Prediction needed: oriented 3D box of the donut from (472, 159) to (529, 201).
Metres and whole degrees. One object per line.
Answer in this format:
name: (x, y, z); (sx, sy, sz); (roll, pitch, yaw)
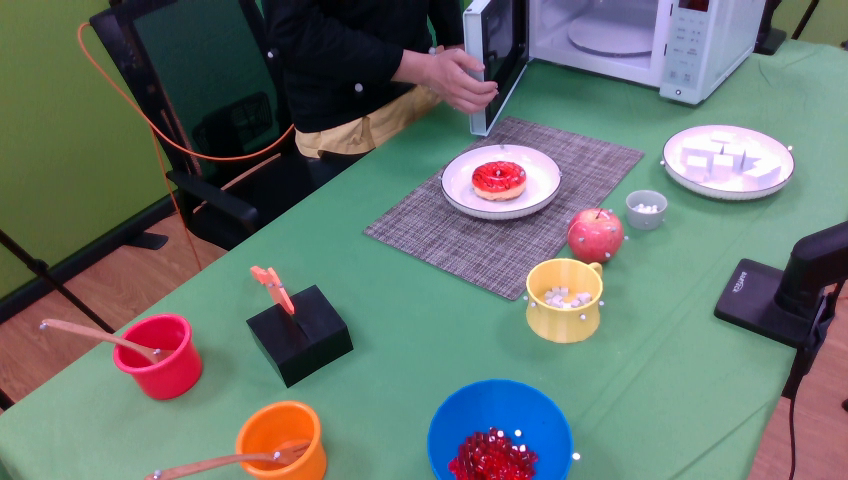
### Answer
donut: (0.132, -0.105, 1.043); (0.099, 0.048, 0.098); (-5, 38, 4)

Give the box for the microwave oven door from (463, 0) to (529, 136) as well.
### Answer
microwave oven door: (0.156, -0.410, 1.236); (0.039, 0.245, 0.355); (10, 43, 19)

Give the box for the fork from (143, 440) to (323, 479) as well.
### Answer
fork: (-0.190, 0.231, 0.631); (0.028, 0.018, 0.209); (37, 14, 37)

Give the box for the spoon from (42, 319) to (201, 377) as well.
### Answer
spoon: (-0.385, 0.135, 0.779); (0.195, 0.021, 0.041); (29, 36, -26)

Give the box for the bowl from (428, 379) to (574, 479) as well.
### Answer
bowl: (0.082, 0.233, 0.644); (0.151, 0.077, 0.150); (-4, 39, 4)

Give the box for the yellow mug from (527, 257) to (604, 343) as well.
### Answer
yellow mug: (0.201, 0.072, 0.825); (0.131, 0.064, 0.099); (-32, 46, -27)

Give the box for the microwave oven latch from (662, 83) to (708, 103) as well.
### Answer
microwave oven latch: (0.518, -0.296, 1.204); (0.078, 0.029, 0.030); (27, 52, 35)

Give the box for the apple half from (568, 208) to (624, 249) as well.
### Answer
apple half: (0.259, -0.014, 0.914); (0.080, 0.075, 0.053); (0, 36, 15)

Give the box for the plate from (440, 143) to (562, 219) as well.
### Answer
plate: (0.134, -0.098, 1.052); (0.209, 0.038, 0.208); (-4, 40, 4)

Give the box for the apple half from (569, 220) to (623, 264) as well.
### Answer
apple half: (0.251, 0.010, 0.884); (0.081, 0.081, 0.032); (3, 37, 12)

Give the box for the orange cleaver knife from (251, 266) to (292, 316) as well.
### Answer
orange cleaver knife: (-0.221, 0.071, 0.873); (0.012, 0.077, 0.210); (-25, 11, -21)

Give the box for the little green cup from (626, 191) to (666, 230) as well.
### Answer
little green cup: (0.352, -0.046, 0.963); (0.061, 0.039, 0.061); (-4, 40, 4)

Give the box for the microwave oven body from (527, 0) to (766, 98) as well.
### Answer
microwave oven body: (0.472, -0.513, 1.317); (0.438, 0.261, 0.327); (25, 51, 34)

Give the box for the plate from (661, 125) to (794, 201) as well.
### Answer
plate: (0.513, -0.128, 1.035); (0.207, 0.039, 0.206); (-4, 40, 4)
